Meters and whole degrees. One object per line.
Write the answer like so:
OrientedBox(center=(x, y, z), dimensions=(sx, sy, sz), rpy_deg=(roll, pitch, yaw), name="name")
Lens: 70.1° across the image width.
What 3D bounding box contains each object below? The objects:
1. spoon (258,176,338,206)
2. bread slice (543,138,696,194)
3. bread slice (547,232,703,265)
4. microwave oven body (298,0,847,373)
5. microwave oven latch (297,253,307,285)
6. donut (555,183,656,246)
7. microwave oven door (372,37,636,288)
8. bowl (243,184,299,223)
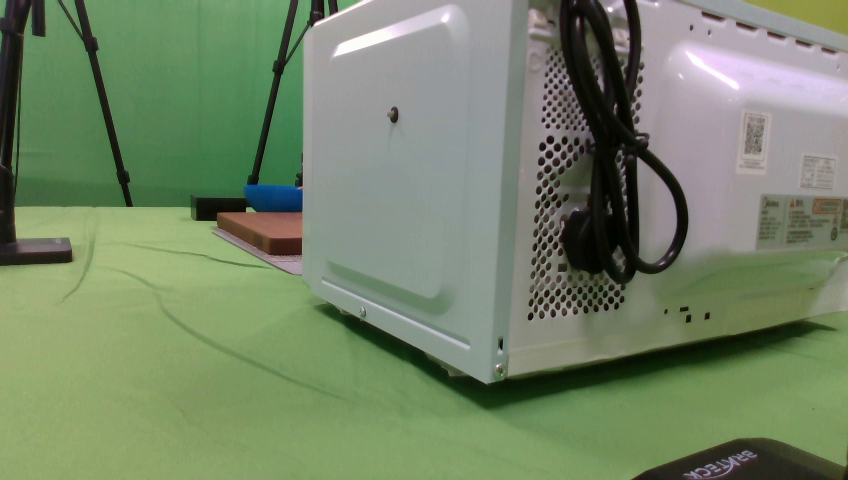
OrientedBox(center=(-0.279, -0.112, 1.356), dimensions=(0.194, 0.021, 0.041), rpy_deg=(-28, 18, -27), name="spoon")
OrientedBox(center=(0.201, -0.074, 0.608), dimensions=(0.133, 0.018, 0.107), rpy_deg=(26, 17, 38), name="bread slice")
OrientedBox(center=(0.201, 0.009, 0.588), dimensions=(0.105, 0.019, 0.131), rpy_deg=(8, -8, -25), name="bread slice")
OrientedBox(center=(0.151, -0.055, 0.543), dimensions=(0.444, 0.260, 0.324), rpy_deg=(-1, 7, -33), name="microwave oven body")
OrientedBox(center=(-0.082, 0.027, 0.582), dimensions=(0.079, 0.029, 0.030), rpy_deg=(-1, 7, -33), name="microwave oven latch")
OrientedBox(center=(0.183, -0.027, 0.612), dimensions=(0.099, 0.048, 0.099), rpy_deg=(12, -12, 3), name="donut")
OrientedBox(center=(0.110, -0.080, 0.686), dimensions=(0.358, 0.243, 0.039), rpy_deg=(-2, 9, -33), name="microwave oven door")
OrientedBox(center=(-0.321, -0.081, 1.333), dimensions=(0.151, 0.077, 0.151), rpy_deg=(3, 8, 0), name="bowl")
